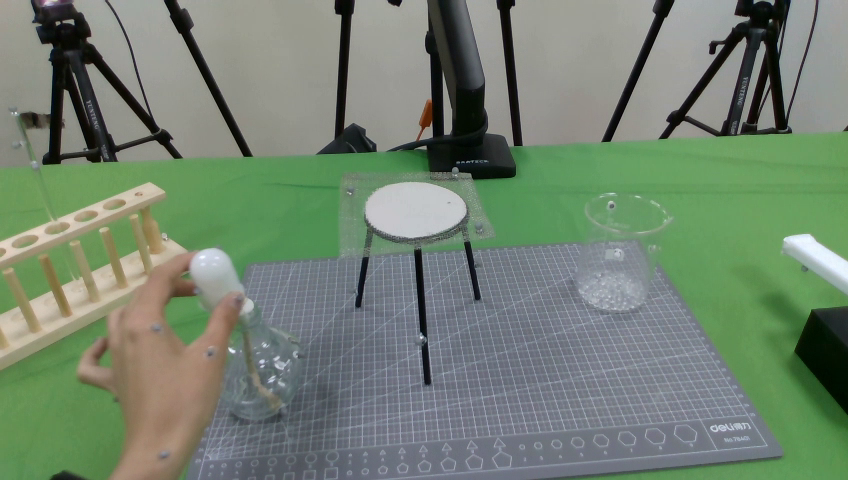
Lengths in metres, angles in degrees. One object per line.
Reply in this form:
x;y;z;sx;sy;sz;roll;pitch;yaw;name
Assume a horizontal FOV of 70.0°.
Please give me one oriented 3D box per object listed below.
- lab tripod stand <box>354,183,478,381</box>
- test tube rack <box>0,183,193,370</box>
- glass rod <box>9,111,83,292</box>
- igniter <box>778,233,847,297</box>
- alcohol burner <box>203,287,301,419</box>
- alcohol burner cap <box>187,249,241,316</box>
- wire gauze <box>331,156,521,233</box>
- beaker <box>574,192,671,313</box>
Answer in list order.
-0.005;0.029;0.543;0.148;0.132;0.147;1;35;0;lab tripod stand
-0.354;0.036;0.592;0.066;0.086;0.242;26;42;34;test tube rack
-0.350;-0.026;0.565;0.008;0.201;0.008;3;36;-2;glass rod
0.395;0.068;0.488;0.057;0.025;0.273;-8;31;-10;igniter
-0.139;0.085;0.483;0.078;0.120;0.077;0;34;0;alcohol burner
-0.151;0.027;0.430;0.034;0.048;0.033;1;46;0;alcohol burner cap
-0.002;-0.038;0.493;0.125;0.011;0.120;-9;31;-25;wire gauze
0.189;0.014;0.590;0.084;0.101;0.073;1;35;3;beaker
